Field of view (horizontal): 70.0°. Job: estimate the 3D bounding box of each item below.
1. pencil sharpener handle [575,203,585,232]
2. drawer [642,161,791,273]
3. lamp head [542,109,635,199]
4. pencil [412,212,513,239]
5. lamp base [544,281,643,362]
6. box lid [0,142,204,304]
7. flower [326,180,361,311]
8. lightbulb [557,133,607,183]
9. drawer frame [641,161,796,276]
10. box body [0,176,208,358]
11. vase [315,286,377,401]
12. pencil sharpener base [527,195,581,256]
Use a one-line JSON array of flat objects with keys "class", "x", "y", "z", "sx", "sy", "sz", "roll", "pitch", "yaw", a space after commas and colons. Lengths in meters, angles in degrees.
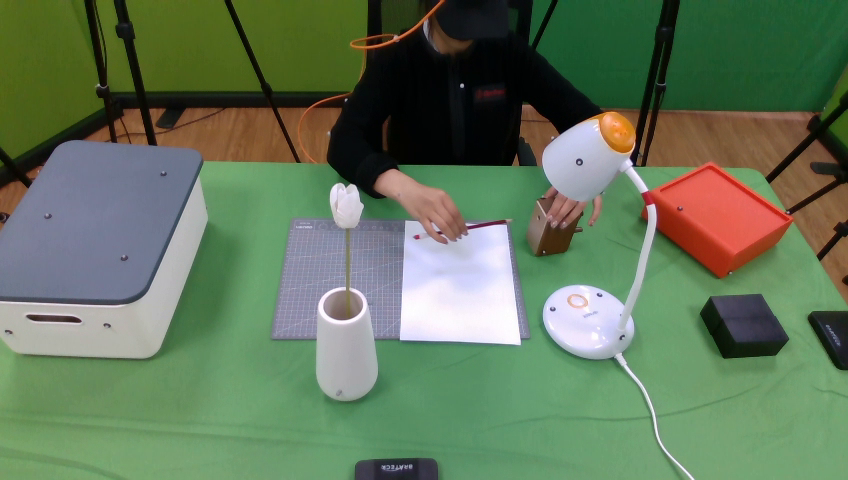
[{"class": "pencil sharpener handle", "x": 0.304, "y": -0.043, "z": 1.184, "sx": 0.031, "sy": 0.068, "sz": 0.035, "roll": -8, "pitch": 40, "yaw": -14}, {"class": "drawer", "x": 0.596, "y": -0.051, "z": 1.246, "sx": 0.194, "sy": 0.073, "sz": 0.210, "roll": -23, "pitch": 52, "yaw": -25}, {"class": "lamp head", "x": 0.253, "y": -0.131, "z": 0.893, "sx": 0.113, "sy": 0.123, "sz": 0.112, "roll": 10, "pitch": 66, "yaw": -24}, {"class": "pencil", "x": 0.073, "y": -0.028, "z": 1.129, "sx": 0.194, "sy": 0.012, "sz": 0.012, "roll": -14, "pitch": 48, "yaw": -5}, {"class": "lamp base", "x": 0.303, "y": 0.095, "z": 1.014, "sx": 0.161, "sy": 0.181, "sz": 0.178, "roll": -24, "pitch": 54, "yaw": -24}, {"class": "box lid", "x": -0.534, "y": -0.044, "z": 0.994, "sx": 0.263, "sy": 0.015, "sz": 0.369, "roll": 3, "pitch": 45, "yaw": -3}, {"class": "flower", "x": -0.110, "y": 0.086, "z": 0.867, "sx": 0.044, "sy": 0.363, "sz": 0.038, "roll": 22, "pitch": 34, "yaw": 36}, {"class": "lightbulb", "x": 0.243, "y": -0.127, "z": 0.916, "sx": 0.059, "sy": 0.108, "sz": 0.059, "roll": 5, "pitch": 67, "yaw": -13}, {"class": "drawer frame", "x": 0.599, "y": -0.051, "z": 1.244, "sx": 0.202, "sy": 0.083, "sz": 0.212, "roll": -24, "pitch": 52, "yaw": -25}, {"class": "box body", "x": -0.546, "y": 0.017, "z": 1.045, "sx": 0.254, "sy": 0.161, "sz": 0.361, "roll": 2, "pitch": 46, "yaw": -2}, {"class": "vase", "x": -0.119, "y": 0.159, "z": 0.911, "sx": 0.098, "sy": 0.201, "sz": 0.097, "roll": 2, "pitch": 47, "yaw": -2}, {"class": "pencil sharpener base", "x": 0.253, "y": -0.029, "z": 1.181, "sx": 0.077, "sy": 0.107, "sz": 0.061, "roll": -8, "pitch": 46, "yaw": -14}]
